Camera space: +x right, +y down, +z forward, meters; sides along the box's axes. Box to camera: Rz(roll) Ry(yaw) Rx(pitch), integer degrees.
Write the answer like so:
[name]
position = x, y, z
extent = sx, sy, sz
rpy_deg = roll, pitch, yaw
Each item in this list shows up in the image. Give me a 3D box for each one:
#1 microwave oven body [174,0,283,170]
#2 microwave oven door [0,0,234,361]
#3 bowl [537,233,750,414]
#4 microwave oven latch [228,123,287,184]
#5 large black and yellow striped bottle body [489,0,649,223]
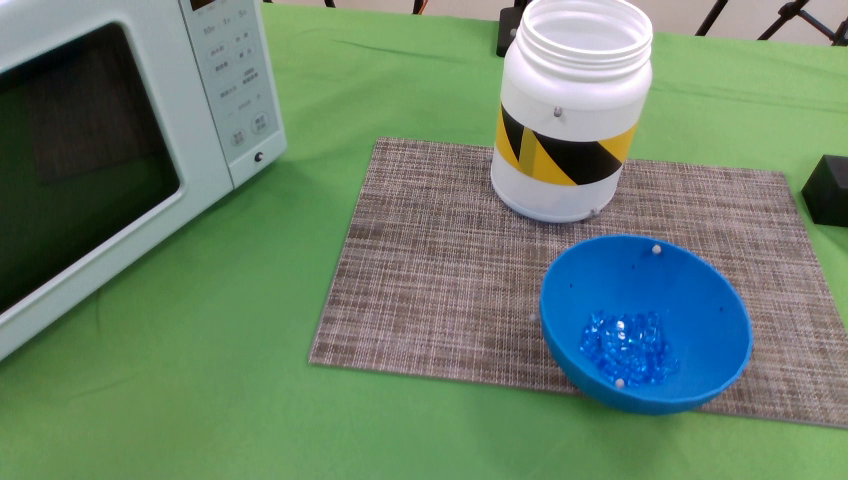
[microwave oven body]
position = -0.399, -0.116, 0.506
extent = 0.324, 0.262, 0.440
rpy_deg = 28, 53, 22
[microwave oven door]
position = -0.303, -0.032, 0.424
extent = 0.039, 0.246, 0.355
rpy_deg = 27, 53, 23
[bowl]
position = 0.157, 0.075, 0.467
extent = 0.151, 0.077, 0.150
rpy_deg = 0, 47, 0
[microwave oven latch]
position = -0.176, -0.093, 0.622
extent = 0.030, 0.030, 0.079
rpy_deg = 30, 54, 23
[large black and yellow striped bottle body]
position = 0.134, -0.122, 0.575
extent = 0.131, 0.185, 0.129
rpy_deg = 1, 47, 0
